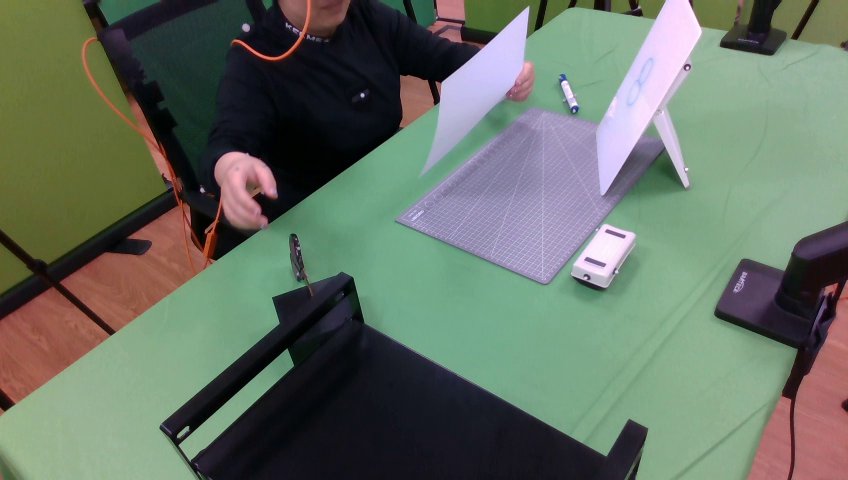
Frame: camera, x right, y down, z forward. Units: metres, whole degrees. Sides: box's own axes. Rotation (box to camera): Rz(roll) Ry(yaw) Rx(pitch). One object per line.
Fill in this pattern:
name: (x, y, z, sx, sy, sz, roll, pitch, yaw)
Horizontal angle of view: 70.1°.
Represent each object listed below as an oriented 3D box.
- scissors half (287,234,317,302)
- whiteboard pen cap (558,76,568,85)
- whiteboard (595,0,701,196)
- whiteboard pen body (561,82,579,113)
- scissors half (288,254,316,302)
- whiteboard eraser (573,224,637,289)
scissors half: (-0.178, 0.040, 0.885, 0.013, 0.040, 0.173, -10, 36, -21)
whiteboard pen cap: (0.309, -0.350, 1.341, 0.018, 0.018, 0.033, -6, 41, 2)
whiteboard: (0.420, -0.227, 1.010, 0.144, 0.305, 0.216, 18, 42, -2)
whiteboard pen body: (0.310, -0.312, 1.298, 0.017, 0.017, 0.140, -6, 41, 2)
scissors half: (-0.178, 0.058, 0.894, 0.013, 0.040, 0.174, -15, 20, -18)
whiteboard eraser: (0.267, 0.025, 0.891, 0.055, 0.042, 0.113, 19, 47, 31)
